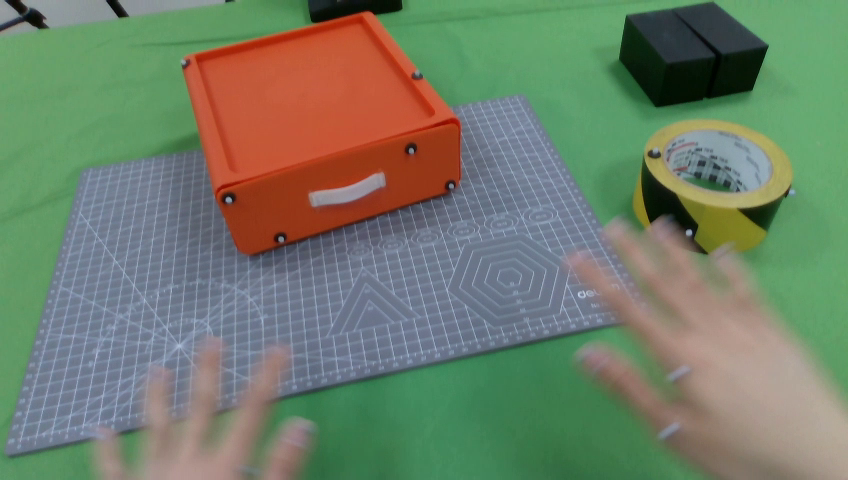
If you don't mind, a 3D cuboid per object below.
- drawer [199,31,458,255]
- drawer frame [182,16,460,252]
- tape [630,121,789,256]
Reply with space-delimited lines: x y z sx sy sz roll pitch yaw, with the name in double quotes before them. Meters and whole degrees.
"drawer" -0.098 -0.103 0.555 0.195 0.074 0.209 -19 47 -12
"drawer frame" -0.101 -0.107 0.557 0.202 0.083 0.211 -20 47 -13
"tape" 0.230 -0.045 0.498 0.117 0.053 0.115 -2 46 2
